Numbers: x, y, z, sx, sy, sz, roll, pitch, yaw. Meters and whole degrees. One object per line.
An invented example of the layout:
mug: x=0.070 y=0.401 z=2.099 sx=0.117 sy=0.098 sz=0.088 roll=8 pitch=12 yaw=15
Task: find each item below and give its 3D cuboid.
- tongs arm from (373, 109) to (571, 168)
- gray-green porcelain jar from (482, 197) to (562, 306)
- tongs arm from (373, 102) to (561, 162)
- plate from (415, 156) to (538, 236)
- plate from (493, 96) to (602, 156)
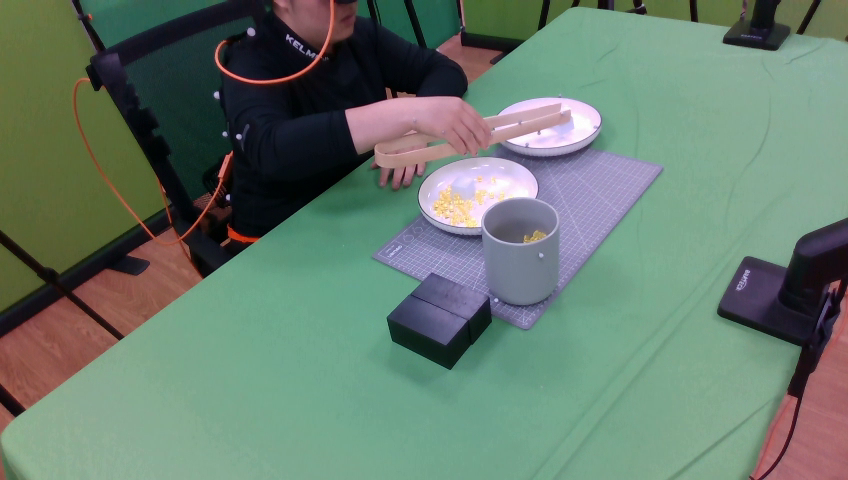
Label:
tongs arm: x=0.094 y=-0.185 z=1.058 sx=0.387 sy=0.026 sz=0.050 roll=-20 pitch=43 yaw=-24
gray-green porcelain jar: x=0.138 y=0.020 z=0.846 sx=0.106 sy=0.127 sz=0.105 roll=-5 pitch=40 yaw=5
tongs arm: x=0.084 y=-0.197 z=1.074 sx=0.389 sy=0.028 sz=0.028 roll=-16 pitch=45 yaw=-21
plate: x=0.090 y=-0.072 z=1.034 sx=0.207 sy=0.039 sz=0.206 roll=-5 pitch=40 yaw=5
plate: x=0.238 y=-0.218 z=1.179 sx=0.209 sy=0.038 sz=0.208 roll=-4 pitch=39 yaw=4
